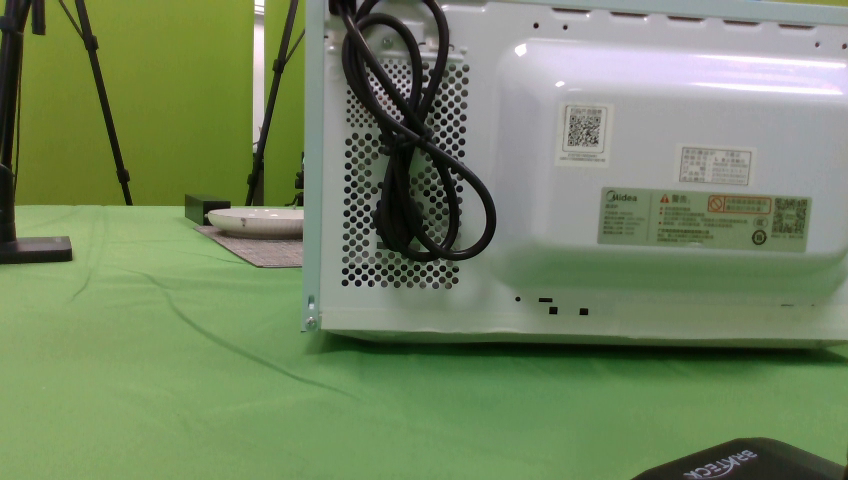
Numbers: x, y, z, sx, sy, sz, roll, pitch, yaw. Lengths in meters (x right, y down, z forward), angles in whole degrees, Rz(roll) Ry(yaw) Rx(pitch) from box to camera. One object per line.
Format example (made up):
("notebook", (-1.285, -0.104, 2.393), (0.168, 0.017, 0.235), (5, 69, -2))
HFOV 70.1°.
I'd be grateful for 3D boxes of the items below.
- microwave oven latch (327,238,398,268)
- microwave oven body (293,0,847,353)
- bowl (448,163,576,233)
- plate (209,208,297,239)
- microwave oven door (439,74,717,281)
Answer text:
("microwave oven latch", (-0.070, 0.015, 0.694), (0.079, 0.029, 0.030), (3, 7, -3))
("microwave oven body", (0.122, -0.055, 0.550), (0.442, 0.260, 0.325), (3, 7, -5))
("bowl", (0.104, -0.048, 0.719), (0.151, 0.077, 0.151), (-2, 3, 0))
("plate", (-0.271, -0.029, 1.074), (0.208, 0.039, 0.207), (3, 7, 0))
("microwave oven door", (0.183, -0.089, 0.801), (0.354, 0.243, 0.039), (7, 9, 32))
